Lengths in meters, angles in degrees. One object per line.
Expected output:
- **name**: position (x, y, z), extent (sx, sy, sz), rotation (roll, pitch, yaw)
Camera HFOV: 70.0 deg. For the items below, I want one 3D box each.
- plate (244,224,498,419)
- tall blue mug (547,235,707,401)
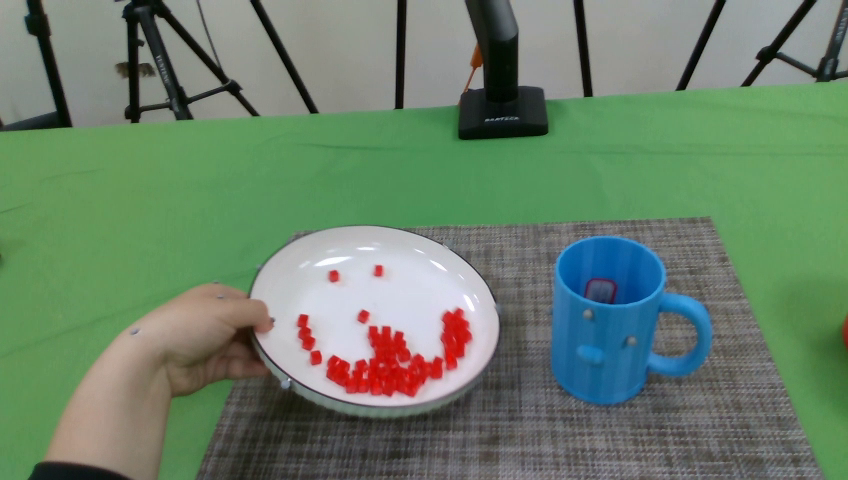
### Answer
- **plate**: position (-0.042, 0.064, 0.506), extent (0.208, 0.039, 0.205), rotation (9, 39, -6)
- **tall blue mug**: position (0.150, 0.060, 0.467), extent (0.107, 0.109, 0.077), rotation (-6, 39, 2)
